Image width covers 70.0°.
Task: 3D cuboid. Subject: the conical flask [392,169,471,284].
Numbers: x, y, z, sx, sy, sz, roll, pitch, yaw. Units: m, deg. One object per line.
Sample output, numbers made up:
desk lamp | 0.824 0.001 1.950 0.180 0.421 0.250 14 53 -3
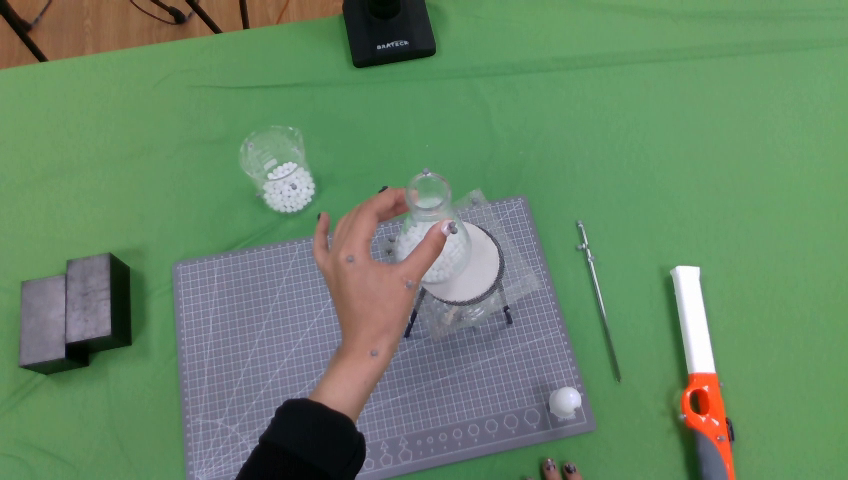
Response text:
conical flask | 0.005 -0.015 0.532 0.075 0.123 0.075 -1 67 3

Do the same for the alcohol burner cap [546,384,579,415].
alcohol burner cap | 0.155 0.174 0.668 0.034 0.048 0.033 0 68 -1

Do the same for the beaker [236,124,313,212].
beaker | -0.177 -0.085 0.741 0.073 0.101 0.084 35 72 13

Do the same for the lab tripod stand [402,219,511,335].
lab tripod stand | 0.033 0.047 0.668 0.148 0.132 0.147 0 70 0

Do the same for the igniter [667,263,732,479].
igniter | 0.310 0.159 0.686 0.057 0.025 0.274 4 68 -10

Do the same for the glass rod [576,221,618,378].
glass rod | 0.207 0.068 0.731 0.008 0.008 0.198 -7 68 -3

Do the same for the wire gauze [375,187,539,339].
wire gauze | 0.032 0.021 0.606 0.125 0.011 0.120 -27 73 -9

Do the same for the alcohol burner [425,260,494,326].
alcohol burner | 0.041 0.054 0.676 0.078 0.120 0.077 1 68 -1
